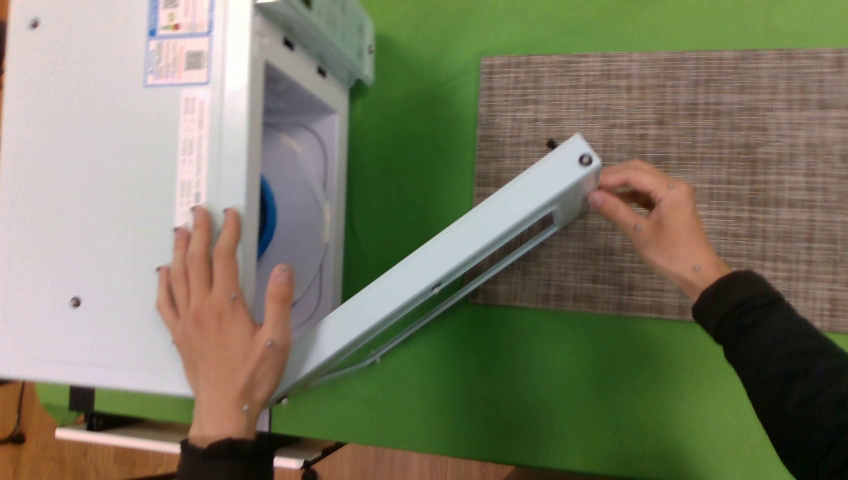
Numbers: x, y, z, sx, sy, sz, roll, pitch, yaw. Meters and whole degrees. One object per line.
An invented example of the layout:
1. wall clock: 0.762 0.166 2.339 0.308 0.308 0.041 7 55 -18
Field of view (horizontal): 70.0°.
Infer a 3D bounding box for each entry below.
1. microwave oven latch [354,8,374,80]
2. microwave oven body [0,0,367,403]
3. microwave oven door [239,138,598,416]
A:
1. microwave oven latch: -0.077 -0.239 0.741 0.030 0.029 0.079 2 88 13
2. microwave oven body: -0.252 -0.072 0.674 0.325 0.261 0.441 1 88 13
3. microwave oven door: 0.014 0.041 0.598 0.356 0.245 0.039 -37 78 9
